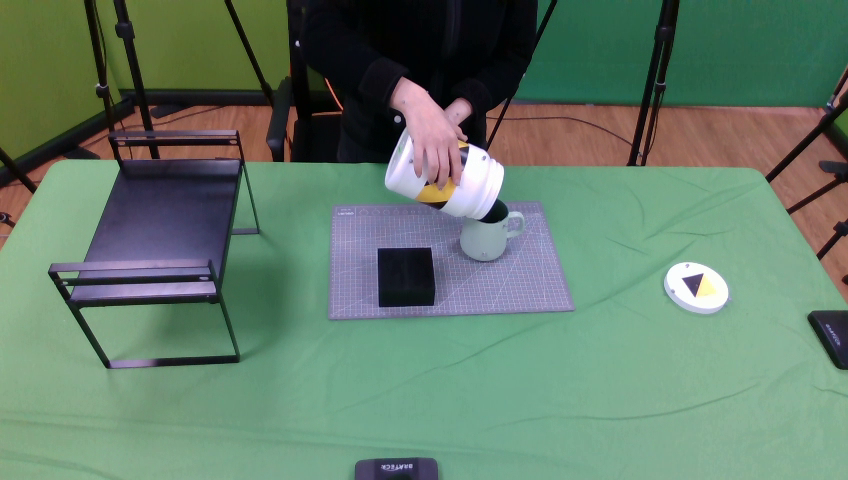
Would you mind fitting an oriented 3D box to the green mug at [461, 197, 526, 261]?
[{"bbox_3d":[0.136,-0.024,1.168,0.125,0.105,0.092,-7,47,-10],"label":"green mug"}]

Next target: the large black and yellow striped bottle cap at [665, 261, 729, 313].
[{"bbox_3d":[0.518,0.087,1.152,0.115,0.019,0.114,2,47,-2],"label":"large black and yellow striped bottle cap"}]

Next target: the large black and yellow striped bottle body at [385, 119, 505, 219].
[{"bbox_3d":[0.037,-0.120,1.071,0.184,0.131,0.130,22,45,-13],"label":"large black and yellow striped bottle body"}]
